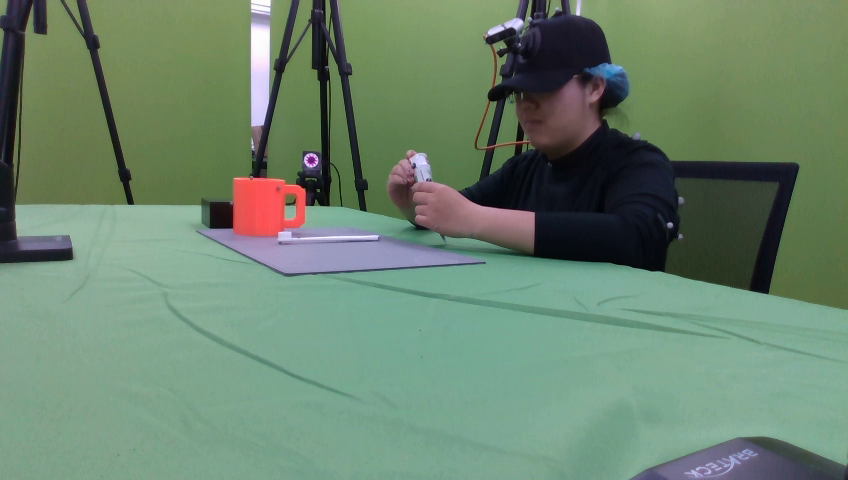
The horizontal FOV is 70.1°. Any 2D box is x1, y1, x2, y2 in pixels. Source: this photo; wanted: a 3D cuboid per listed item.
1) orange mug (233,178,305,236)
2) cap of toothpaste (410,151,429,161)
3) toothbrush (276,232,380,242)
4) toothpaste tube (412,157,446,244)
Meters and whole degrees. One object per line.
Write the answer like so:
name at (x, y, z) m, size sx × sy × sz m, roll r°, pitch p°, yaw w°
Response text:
orange mug at (-0.273, -0.061, 1.067) m, size 0.127 × 0.101 × 0.083 m, roll -5°, pitch 10°, yaw -24°
cap of toothpaste at (-0.007, -0.146, 1.082) m, size 0.037 × 0.011 × 0.037 m, roll -14°, pitch -19°, yaw -4°
toothbrush at (-0.153, -0.005, 0.990) m, size 0.183 × 0.016 × 0.014 m, roll 0°, pitch -4°, yaw -33°
toothpaste tube at (0.011, -0.075, 1.054) m, size 0.034 × 0.164 × 0.055 m, roll -20°, pitch -19°, yaw 14°
